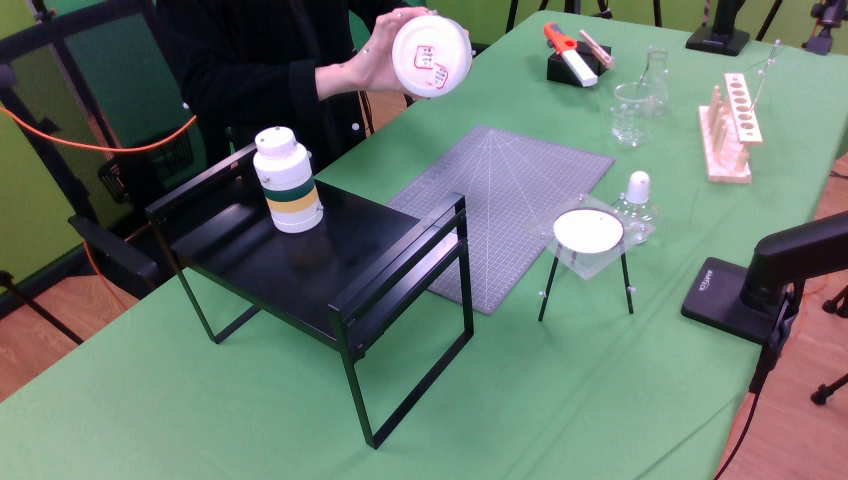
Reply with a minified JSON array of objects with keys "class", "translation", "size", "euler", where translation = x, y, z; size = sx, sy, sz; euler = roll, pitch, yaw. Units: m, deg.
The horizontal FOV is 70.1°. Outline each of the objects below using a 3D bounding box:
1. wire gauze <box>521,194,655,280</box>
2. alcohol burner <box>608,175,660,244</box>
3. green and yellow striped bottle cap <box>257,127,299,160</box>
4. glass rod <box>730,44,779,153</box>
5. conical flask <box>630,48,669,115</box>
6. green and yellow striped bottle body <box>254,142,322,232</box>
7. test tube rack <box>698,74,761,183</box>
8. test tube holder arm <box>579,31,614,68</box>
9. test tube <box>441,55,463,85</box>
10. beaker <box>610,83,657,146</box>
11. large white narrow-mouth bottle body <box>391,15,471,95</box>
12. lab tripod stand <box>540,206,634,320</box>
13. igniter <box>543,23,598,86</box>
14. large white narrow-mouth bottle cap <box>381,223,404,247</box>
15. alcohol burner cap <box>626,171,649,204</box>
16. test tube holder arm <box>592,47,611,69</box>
[{"class":"wire gauze","translation":[0.207,-0.012,0.772],"size":[0.122,0.011,0.124],"euler":[-28,44,-20]},{"class":"alcohol burner","translation":[0.322,-0.053,0.924],"size":[0.078,0.119,0.077],"euler":[-4,43,4]},{"class":"green and yellow striped bottle cap","translation":[-0.169,-0.112,0.698],"size":[0.045,0.020,0.045],"euler":[-5,40,5]},{"class":"glass rod","translation":[0.555,-0.234,1.021],"size":[0.008,0.200,0.008],"euler":[2,40,-1]},{"class":"conical flask","translation":[0.456,-0.317,1.205],"size":[0.075,0.122,0.075],"euler":[-4,41,4]},{"class":"green and yellow striped bottle body","translation":[-0.165,-0.073,0.732],"size":[0.063,0.120,0.063],"euler":[-4,41,4]},{"class":"test tube rack","translation":[0.547,-0.208,1.095],"size":[0.066,0.085,0.242],"euler":[5,42,15]},{"class":"test tube holder arm","translation":[0.384,-0.428,1.351],"size":[0.013,0.015,0.177],"euler":[-10,41,-4]},{"class":"test tube","translation":[0.050,-0.290,1.039],"size":[0.017,0.017,0.150],"euler":[3,2,12]},{"class":"beaker","translation":[0.388,-0.235,1.138],"size":[0.074,0.101,0.083],"euler":[-31,45,-26]},{"class":"large white narrow-mouth bottle body","translation":[0.018,-0.267,0.874],"size":[0.101,0.102,0.194],"euler":[1,18,9]},{"class":"lab tripod stand","translation":[0.218,0.034,0.821],"size":[0.148,0.132,0.147],"euler":[-4,42,4]},{"class":"igniter","translation":[0.320,-0.419,1.345],"size":[0.057,0.025,0.274],"euler":[-12,44,-3]},{"class":"large white narrow-mouth bottle cap","translation":[-0.052,-0.009,0.992],"size":[0.038,0.024,0.037],"euler":[-5,39,4]},{"class":"alcohol burner cap","translation":[0.320,-0.081,0.900],"size":[0.034,0.048,0.033],"euler":[-4,42,4]},{"class":"test tube holder arm","translation":[0.386,-0.398,1.317],"size":[0.010,0.015,0.087],"euler":[-10,41,-3]}]
